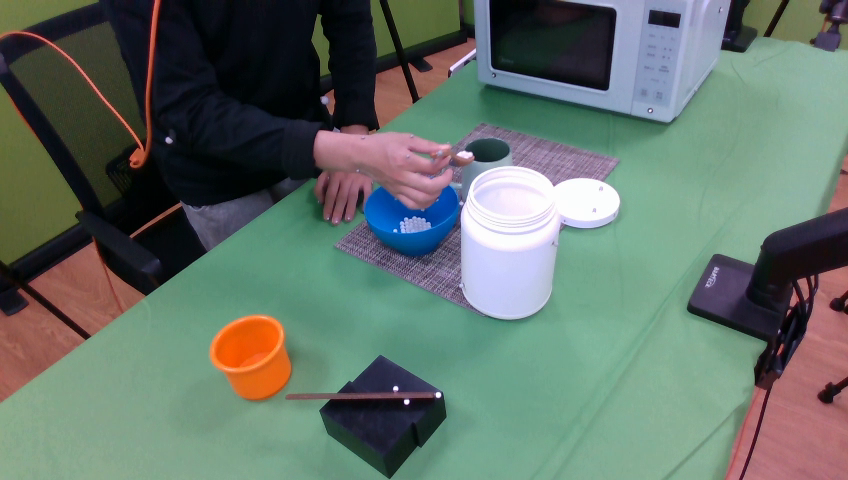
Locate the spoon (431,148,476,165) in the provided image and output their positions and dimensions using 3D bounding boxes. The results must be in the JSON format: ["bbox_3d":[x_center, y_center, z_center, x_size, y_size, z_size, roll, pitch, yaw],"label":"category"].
[{"bbox_3d":[0.037,-0.119,0.843,0.041,0.021,0.194,-3,1,17],"label":"spoon"}]

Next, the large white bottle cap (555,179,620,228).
[{"bbox_3d":[0.265,-0.062,1.001,0.115,0.018,0.114,-3,41,3],"label":"large white bottle cap"}]

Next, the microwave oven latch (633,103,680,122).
[{"bbox_3d":[0.444,-0.249,1.158,0.078,0.029,0.030,21,49,30],"label":"microwave oven latch"}]

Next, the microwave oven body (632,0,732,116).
[{"bbox_3d":[0.377,-0.462,1.267,0.438,0.261,0.327,21,49,30],"label":"microwave oven body"}]

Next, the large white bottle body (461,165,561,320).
[{"bbox_3d":[0.115,0.004,0.816,0.130,0.185,0.130,-2,43,2],"label":"large white bottle body"}]

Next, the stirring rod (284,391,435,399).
[{"bbox_3d":[-0.075,0.180,0.698,0.176,0.006,0.014,-2,6,7],"label":"stirring rod"}]

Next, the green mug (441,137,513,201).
[{"bbox_3d":[0.091,-0.108,1.012,0.125,0.105,0.092,2,42,12],"label":"green mug"}]

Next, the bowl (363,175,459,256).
[{"bbox_3d":[-0.016,-0.029,0.955,0.151,0.077,0.150,-4,40,4],"label":"bowl"}]

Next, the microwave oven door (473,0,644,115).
[{"bbox_3d":[0.257,-0.396,1.199,0.353,0.245,0.039,21,48,29],"label":"microwave oven door"}]
